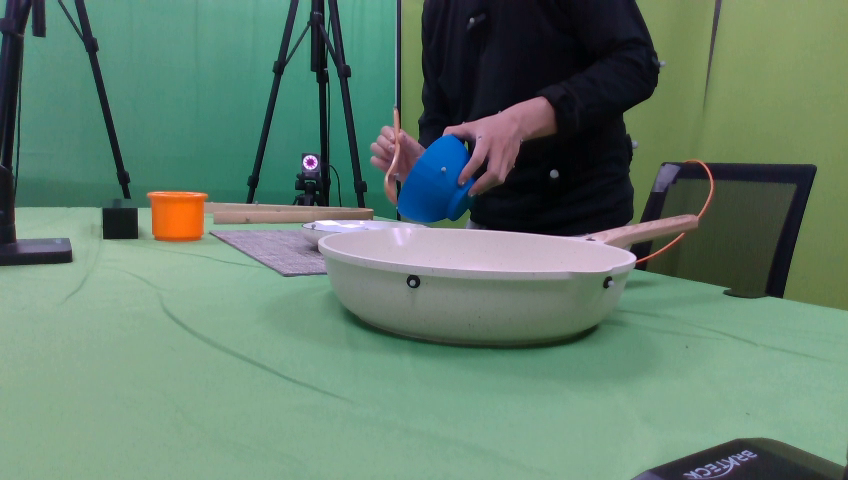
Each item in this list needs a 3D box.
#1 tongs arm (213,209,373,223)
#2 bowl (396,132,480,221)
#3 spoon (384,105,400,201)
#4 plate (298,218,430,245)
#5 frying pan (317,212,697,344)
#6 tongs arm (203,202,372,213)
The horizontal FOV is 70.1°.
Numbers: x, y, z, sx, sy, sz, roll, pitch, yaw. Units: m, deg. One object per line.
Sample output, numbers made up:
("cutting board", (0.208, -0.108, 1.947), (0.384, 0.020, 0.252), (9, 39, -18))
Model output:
("tongs arm", (-0.274, -0.054, 1.347), (0.390, 0.028, 0.028), (-2, 6, -37))
("bowl", (0.033, -0.082, 0.936), (0.076, 0.151, 0.152), (35, 18, 16))
("spoon", (-0.048, -0.146, 0.988), (0.021, 0.193, 0.042), (-8, -32, 19))
("plate", (-0.091, -0.006, 0.949), (0.208, 0.039, 0.207), (2, 7, 0))
("frying pan", (0.133, 0.013, 0.629), (0.490, 0.102, 0.305), (-12, 14, -31))
("tongs arm", (-0.312, -0.068, 1.418), (0.387, 0.026, 0.050), (1, 8, -24))
